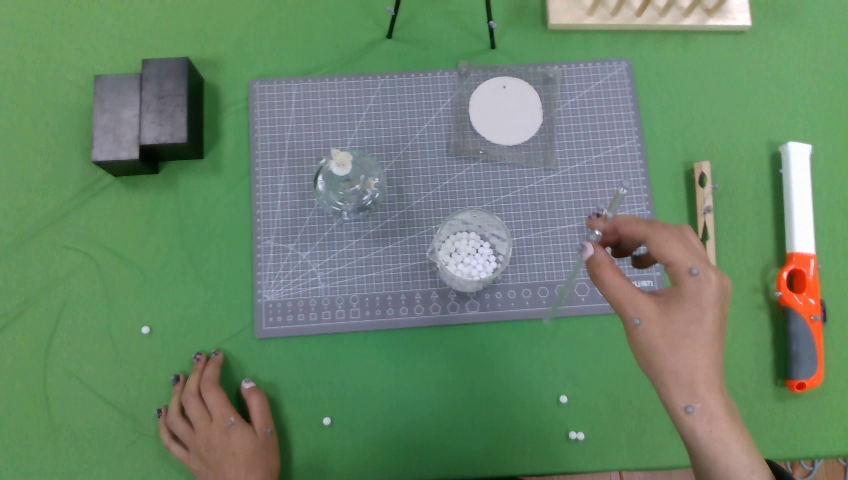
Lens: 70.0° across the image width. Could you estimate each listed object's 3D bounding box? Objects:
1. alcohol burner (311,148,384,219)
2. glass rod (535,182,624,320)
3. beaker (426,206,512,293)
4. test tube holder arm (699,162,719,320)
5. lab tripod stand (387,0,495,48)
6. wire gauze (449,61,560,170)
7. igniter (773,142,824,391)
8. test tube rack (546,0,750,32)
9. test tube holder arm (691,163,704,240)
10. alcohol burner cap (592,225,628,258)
[{"bbox_3d":[-0.081,-0.063,0.628,0.078,0.119,0.077,0,77,1],"label":"alcohol burner"},{"bbox_3d":[0.109,0.017,0.452,0.008,0.201,0.008,3,59,-5],"label":"glass rod"},{"bbox_3d":[0.043,0.015,0.622,0.084,0.100,0.073,-11,78,-3],"label":"beaker"},{"bbox_3d":[0.316,0.000,0.674,0.013,0.015,0.177,-8,76,33],"label":"test tube holder arm"},{"bbox_3d":[0.024,-0.283,0.667,0.148,0.132,0.148,0,80,-1],"label":"lab tripod stand"},{"bbox_3d":[0.095,-0.148,0.703,0.125,0.011,0.121,7,80,-1],"label":"wire gauze"},{"bbox_3d":[0.411,0.026,0.668,0.057,0.025,0.275,7,79,-10],"label":"igniter"},{"bbox_3d":[0.270,-0.293,0.699,0.242,0.085,0.066,0,78,-1],"label":"test tube rack"},{"bbox_3d":[0.311,-0.044,0.685,0.010,0.015,0.087,-7,77,33],"label":"test tube holder arm"},{"bbox_3d":[0.204,-0.001,0.658,0.034,0.048,0.033,0,78,-1],"label":"alcohol burner cap"}]
